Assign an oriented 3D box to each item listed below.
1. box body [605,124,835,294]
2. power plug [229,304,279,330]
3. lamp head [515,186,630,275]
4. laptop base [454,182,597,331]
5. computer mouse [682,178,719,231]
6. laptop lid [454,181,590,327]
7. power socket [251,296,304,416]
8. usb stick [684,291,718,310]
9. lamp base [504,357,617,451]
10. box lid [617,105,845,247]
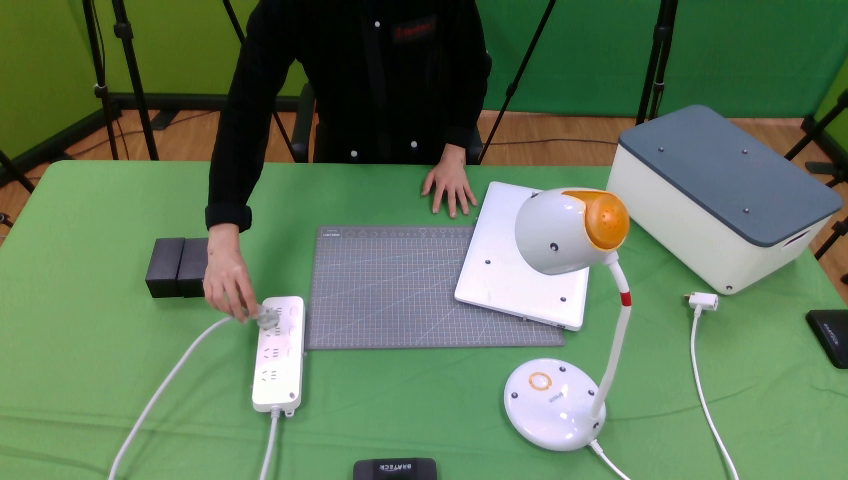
[{"bbox_3d":[0.582,-0.089,1.230,0.254,0.161,0.361,-22,52,-23],"label":"box body"},{"bbox_3d":[-0.271,0.124,0.981,0.072,0.053,0.035,7,45,0],"label":"power plug"},{"bbox_3d":[0.188,-0.013,0.728,0.112,0.112,0.122,-25,9,-25],"label":"lamp head"},{"bbox_3d":[0.211,0.019,1.202,0.235,0.023,0.352,12,46,10],"label":"laptop base"},{"bbox_3d":[0.596,-0.078,1.290,0.117,0.041,0.062,56,44,-7],"label":"computer mouse"},{"bbox_3d":[0.210,0.010,1.193,0.241,0.013,0.355,13,46,11],"label":"laptop lid"},{"bbox_3d":[-0.238,0.181,0.997,0.072,0.033,0.225,-3,47,-5],"label":"power socket"},{"bbox_3d":[0.509,0.111,1.121,0.059,0.021,0.027,6,53,46],"label":"usb stick"},{"bbox_3d":[0.220,0.211,0.902,0.160,0.181,0.178,-33,59,-30],"label":"lamp base"},{"bbox_3d":[0.586,-0.138,1.176,0.263,0.015,0.369,-22,51,-23],"label":"box lid"}]
